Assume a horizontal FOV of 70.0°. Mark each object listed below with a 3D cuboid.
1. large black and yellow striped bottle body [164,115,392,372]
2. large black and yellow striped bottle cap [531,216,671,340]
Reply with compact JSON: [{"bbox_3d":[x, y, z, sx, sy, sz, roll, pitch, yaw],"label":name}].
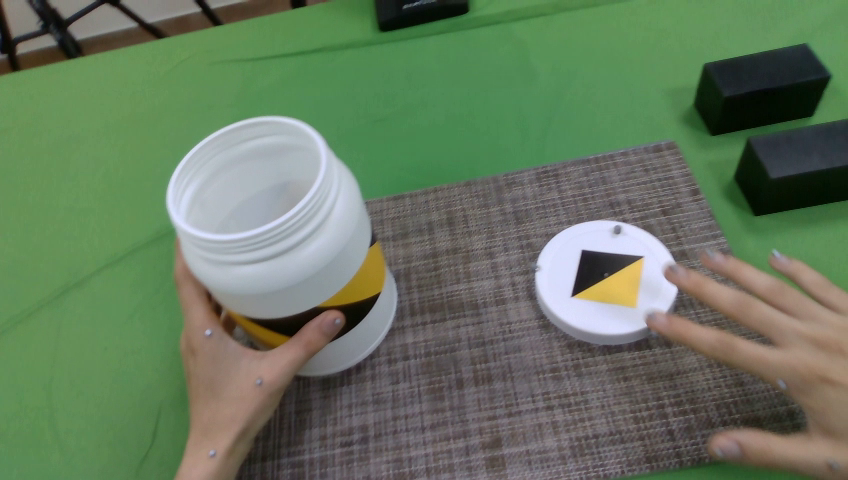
[{"bbox_3d":[-0.104,0.008,0.468,0.130,0.186,0.129,-5,54,7],"label":"large black and yellow striped bottle body"},{"bbox_3d":[0.148,0.029,0.511,0.115,0.019,0.114,-5,55,7],"label":"large black and yellow striped bottle cap"}]
